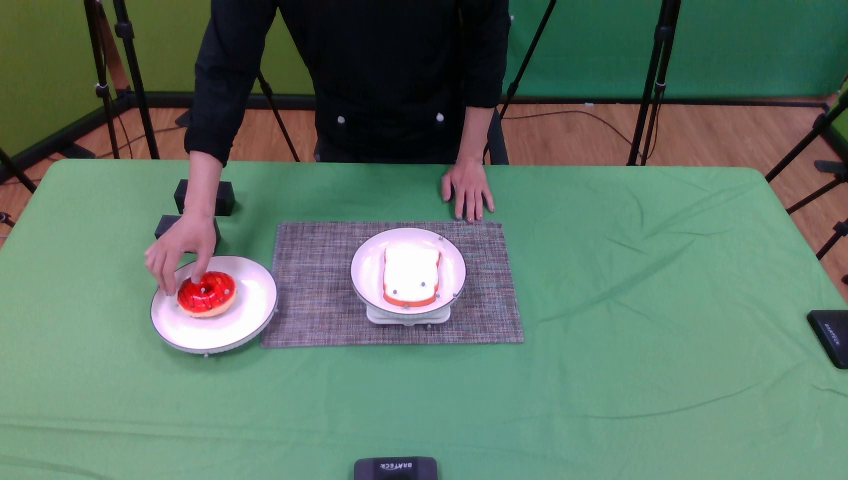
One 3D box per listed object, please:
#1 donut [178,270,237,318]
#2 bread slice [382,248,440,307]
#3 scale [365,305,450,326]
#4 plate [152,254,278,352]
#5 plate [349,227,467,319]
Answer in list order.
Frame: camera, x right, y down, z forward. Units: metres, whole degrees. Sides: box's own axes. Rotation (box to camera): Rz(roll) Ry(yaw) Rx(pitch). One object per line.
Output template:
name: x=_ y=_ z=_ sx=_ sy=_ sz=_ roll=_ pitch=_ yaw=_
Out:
donut: x=-0.375 y=0.092 z=1.053 sx=0.099 sy=0.048 sz=0.098 roll=1 pitch=42 yaw=0
bread slice: x=-0.023 y=0.064 z=1.077 sx=0.105 sy=0.019 sz=0.130 roll=2 pitch=45 yaw=0
scale: x=-0.032 y=0.071 z=1.113 sx=0.149 sy=0.032 sz=0.199 roll=0 pitch=46 yaw=-4
plate: x=-0.357 y=0.111 z=1.052 sx=0.208 sy=0.039 sz=0.206 roll=2 pitch=46 yaw=-2
plate: x=-0.029 y=0.061 z=1.077 sx=0.209 sy=0.038 sz=0.208 roll=2 pitch=46 yaw=-2
